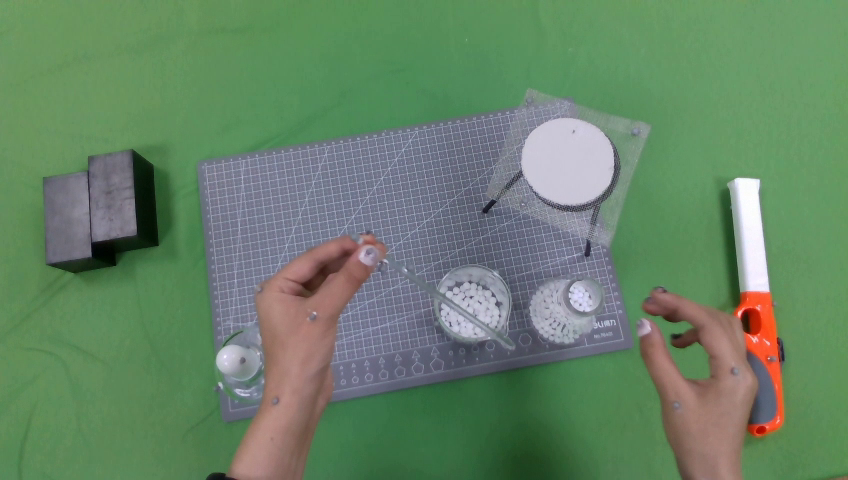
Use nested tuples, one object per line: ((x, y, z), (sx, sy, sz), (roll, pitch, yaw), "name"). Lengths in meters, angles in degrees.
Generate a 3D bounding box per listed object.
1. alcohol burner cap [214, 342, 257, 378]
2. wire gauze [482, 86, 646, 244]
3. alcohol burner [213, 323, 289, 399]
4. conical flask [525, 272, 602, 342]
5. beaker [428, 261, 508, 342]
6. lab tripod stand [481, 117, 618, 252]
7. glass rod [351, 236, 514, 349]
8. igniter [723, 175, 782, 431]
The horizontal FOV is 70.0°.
((-0.180, 0.111, 0.572), (0.034, 0.048, 0.033), (0, 70, 0), "alcohol burner cap")
((0.130, -0.074, 0.564), (0.125, 0.011, 0.121), (22, 81, 6), "wire gauze")
((-0.179, 0.121, 0.607), (0.078, 0.119, 0.077), (0, 79, 2), "alcohol burner")
((0.146, 0.062, 0.609), (0.075, 0.122, 0.075), (0, 77, 2), "conical flask")
((0.046, 0.069, 0.621), (0.083, 0.100, 0.074), (44, 82, 9), "beaker")
((0.135, -0.057, 0.629), (0.148, 0.132, 0.147), (0, 79, 3), "lab tripod stand")
((0.015, 0.048, 0.490), (0.202, 0.008, 0.008), (37, 77, -35), "glass rod")
((0.353, 0.063, 0.656), (0.057, 0.025, 0.275), (3, 77, -9), "igniter")
